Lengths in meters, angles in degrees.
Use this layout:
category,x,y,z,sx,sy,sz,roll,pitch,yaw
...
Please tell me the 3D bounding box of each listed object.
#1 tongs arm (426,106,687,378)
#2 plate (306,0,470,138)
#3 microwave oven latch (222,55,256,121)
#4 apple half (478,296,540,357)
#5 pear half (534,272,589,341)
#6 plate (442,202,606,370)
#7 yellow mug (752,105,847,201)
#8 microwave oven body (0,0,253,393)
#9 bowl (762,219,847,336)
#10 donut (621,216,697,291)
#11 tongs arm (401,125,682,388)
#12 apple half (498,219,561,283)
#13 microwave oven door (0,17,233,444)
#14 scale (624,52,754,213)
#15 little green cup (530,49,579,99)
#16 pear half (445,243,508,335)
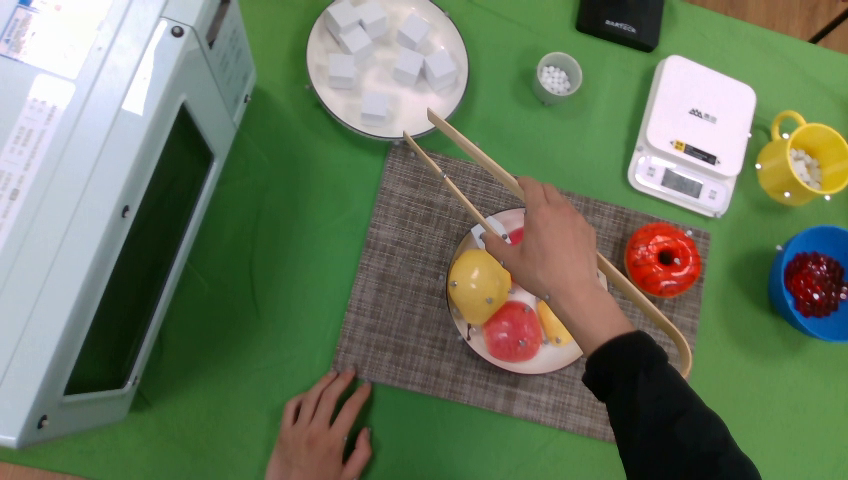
category,x,y,z,sx,sy,sz,roll,pitch,yaw
tongs arm,0.129,-0.011,0.635,0.028,0.028,0.385,-39,74,-14
plate,-0.046,-0.228,0.782,0.208,0.039,0.207,2,80,-9
microwave oven latch,-0.227,-0.186,0.726,0.030,0.029,0.079,20,78,-5
apple half,0.106,0.105,0.736,0.081,0.033,0.081,3,73,-8
pear half,0.172,0.081,0.753,0.070,0.031,0.087,14,75,7
plate,0.123,0.057,0.756,0.209,0.038,0.208,2,80,-9
yellow mug,0.516,-0.125,0.841,0.100,0.064,0.130,-17,82,-11
microwave oven body,-0.403,-0.084,0.581,0.327,0.260,0.440,18,78,-6
bowl,0.508,0.053,0.803,0.152,0.077,0.151,1,81,-8
donut,0.304,0.018,0.789,0.099,0.048,0.098,1,79,-6
tongs arm,0.110,0.005,0.631,0.051,0.027,0.382,-36,73,-10
apple half,0.133,0.011,0.748,0.075,0.053,0.080,3,83,-5
microwave oven door,-0.277,0.000,0.581,0.039,0.244,0.354,18,78,-5
scale,0.368,-0.150,0.839,0.149,0.031,0.200,20,78,-5
little green cup,0.173,-0.221,0.816,0.062,0.038,0.061,2,79,-8
pear half,0.064,0.060,0.724,0.077,0.056,0.109,10,83,-16
